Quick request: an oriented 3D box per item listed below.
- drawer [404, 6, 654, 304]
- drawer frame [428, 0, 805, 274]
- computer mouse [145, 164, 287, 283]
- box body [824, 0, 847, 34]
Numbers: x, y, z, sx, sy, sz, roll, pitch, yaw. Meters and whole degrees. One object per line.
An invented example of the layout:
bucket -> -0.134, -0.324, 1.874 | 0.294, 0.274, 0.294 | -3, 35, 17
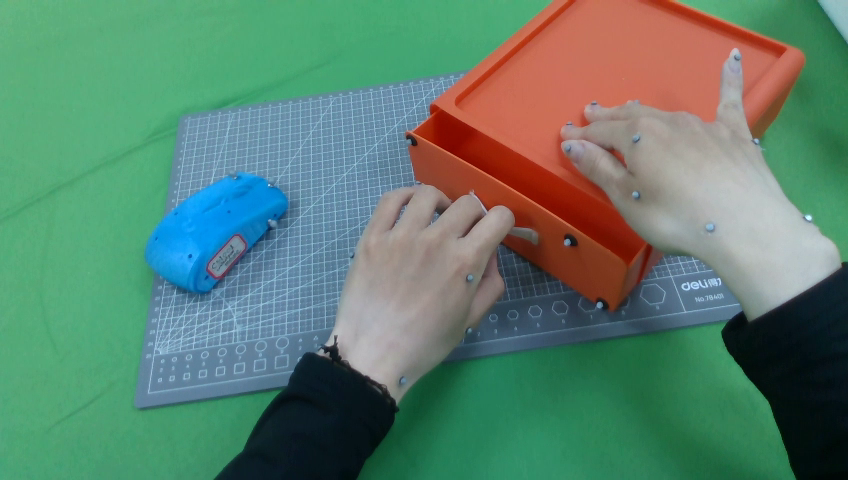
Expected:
drawer -> 0.126, -0.085, 0.477 | 0.193, 0.074, 0.211 | 36, 67, 27
drawer frame -> 0.147, -0.108, 0.488 | 0.200, 0.083, 0.213 | 36, 67, 26
computer mouse -> -0.171, -0.020, 0.497 | 0.062, 0.041, 0.117 | 28, 60, 24
box body -> 0.499, -0.191, 0.453 | 0.254, 0.162, 0.360 | -8, 57, 2
